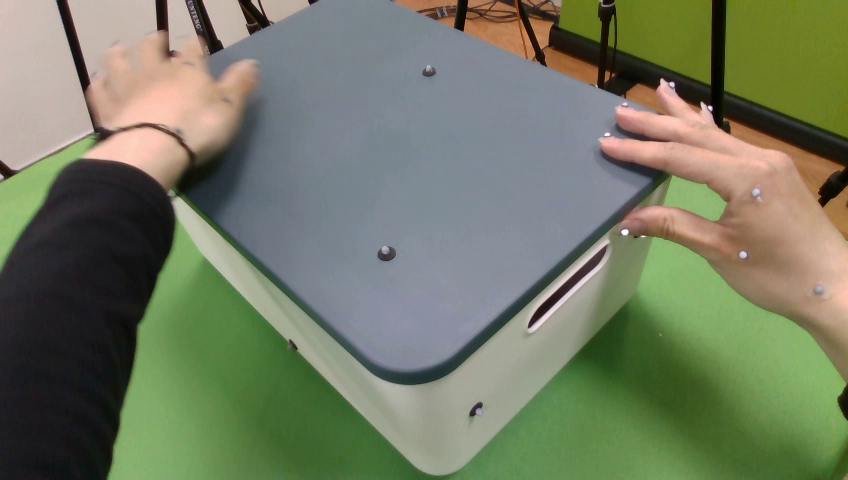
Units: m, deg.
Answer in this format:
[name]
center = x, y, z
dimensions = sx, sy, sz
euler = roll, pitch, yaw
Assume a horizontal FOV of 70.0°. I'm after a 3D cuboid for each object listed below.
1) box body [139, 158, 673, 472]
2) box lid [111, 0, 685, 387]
[box body]
center = -0.029, -0.029, 0.491
dimensions = 0.254, 0.162, 0.360
euler = -38, 53, -25
[box lid]
center = -0.037, -0.079, 0.435
dimensions = 0.263, 0.015, 0.368
euler = -38, 54, -25
